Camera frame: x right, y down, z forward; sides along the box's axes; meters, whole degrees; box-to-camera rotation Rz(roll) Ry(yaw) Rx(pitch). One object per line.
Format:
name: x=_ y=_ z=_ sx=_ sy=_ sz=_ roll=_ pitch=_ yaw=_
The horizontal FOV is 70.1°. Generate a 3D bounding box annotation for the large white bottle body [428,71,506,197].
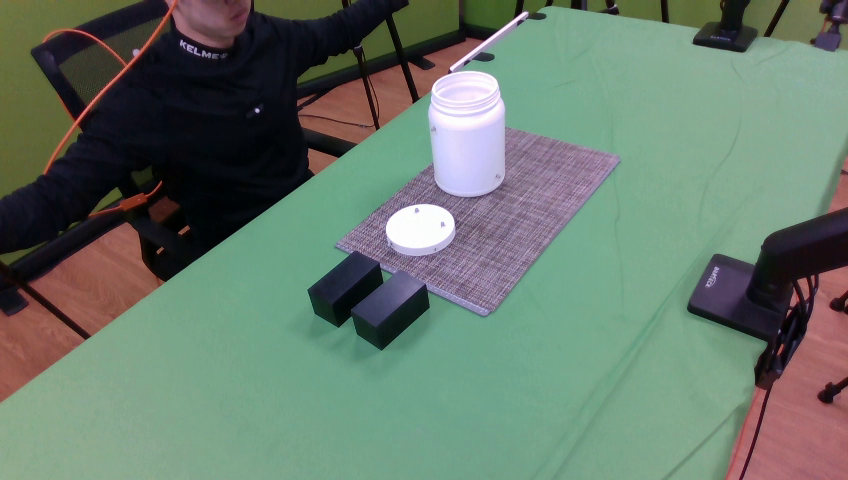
large white bottle body: x=0.075 y=-0.181 z=1.038 sx=0.130 sy=0.185 sz=0.130 roll=-4 pitch=41 yaw=4

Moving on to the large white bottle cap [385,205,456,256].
large white bottle cap: x=-0.006 y=-0.018 z=0.987 sx=0.115 sy=0.018 sz=0.114 roll=-4 pitch=40 yaw=4
